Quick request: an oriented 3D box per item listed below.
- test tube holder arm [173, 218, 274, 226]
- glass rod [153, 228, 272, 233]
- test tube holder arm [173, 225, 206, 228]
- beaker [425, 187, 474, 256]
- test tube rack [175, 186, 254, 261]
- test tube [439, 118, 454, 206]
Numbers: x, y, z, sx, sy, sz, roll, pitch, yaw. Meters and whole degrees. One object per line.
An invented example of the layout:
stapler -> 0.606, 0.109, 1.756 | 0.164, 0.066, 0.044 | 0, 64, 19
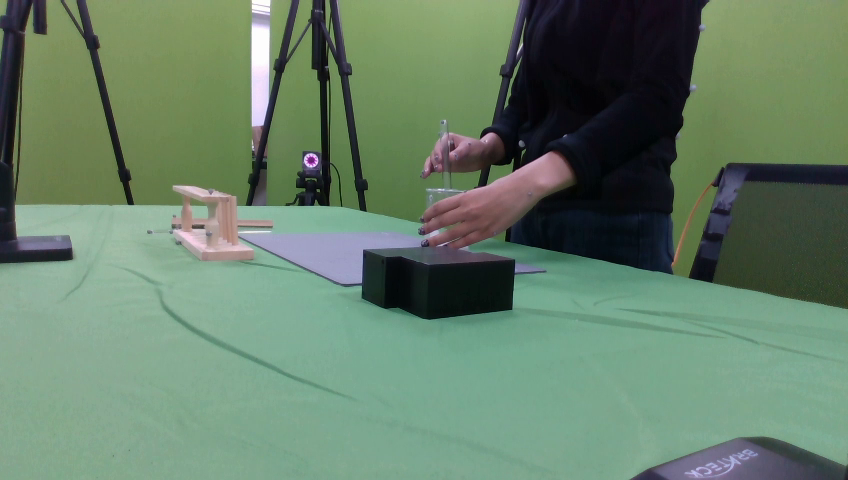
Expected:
test tube holder arm -> -0.371, -0.033, 1.128 | 0.179, 0.015, 0.013 | -1, -21, -25
glass rod -> -0.368, -0.017, 1.065 | 0.201, 0.008, 0.008 | -2, 8, -27
test tube holder arm -> -0.414, -0.030, 1.113 | 0.088, 0.015, 0.010 | -1, -21, -25
beaker -> 0.039, -0.029, 0.910 | 0.073, 0.100, 0.084 | 8, 9, 38
test tube rack -> -0.314, -0.031, 0.889 | 0.067, 0.085, 0.241 | -2, 8, -30
test tube -> 0.039, -0.133, 1.031 | 0.017, 0.150, 0.017 | -4, -1, 0
